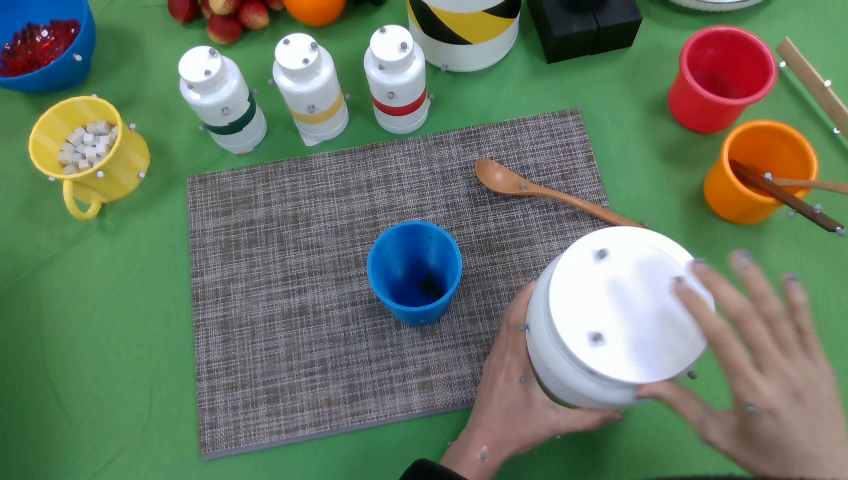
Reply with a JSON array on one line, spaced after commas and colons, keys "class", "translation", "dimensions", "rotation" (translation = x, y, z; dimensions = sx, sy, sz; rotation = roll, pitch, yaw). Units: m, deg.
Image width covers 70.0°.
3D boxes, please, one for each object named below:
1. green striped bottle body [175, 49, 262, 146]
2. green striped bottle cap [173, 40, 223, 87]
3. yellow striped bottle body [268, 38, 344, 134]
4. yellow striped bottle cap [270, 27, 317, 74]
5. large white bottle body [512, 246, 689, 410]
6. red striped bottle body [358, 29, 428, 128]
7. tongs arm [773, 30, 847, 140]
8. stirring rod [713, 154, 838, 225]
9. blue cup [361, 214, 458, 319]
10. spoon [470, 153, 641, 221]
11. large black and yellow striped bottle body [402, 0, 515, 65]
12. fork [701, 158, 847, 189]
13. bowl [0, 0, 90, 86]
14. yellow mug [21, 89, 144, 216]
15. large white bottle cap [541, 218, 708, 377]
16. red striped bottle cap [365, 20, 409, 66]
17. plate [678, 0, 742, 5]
[{"class": "green striped bottle body", "translation": [-0.220, -0.156, 0.645], "dimensions": [0.063, 0.120, 0.063], "rotation": [-1, 70, 2]}, {"class": "green striped bottle cap", "translation": [-0.223, -0.173, 0.596], "dimensions": [0.044, 0.020, 0.044], "rotation": [0, 69, 1]}, {"class": "yellow striped bottle body", "translation": [-0.126, -0.170, 0.646], "dimensions": [0.063, 0.121, 0.062], "rotation": [-1, 70, 3]}, {"class": "yellow striped bottle cap", "translation": [-0.129, -0.187, 0.598], "dimensions": [0.044, 0.019, 0.044], "rotation": [0, 72, 1]}, {"class": "large white bottle body", "translation": [0.146, 0.071, 0.512], "dimensions": [0.130, 0.186, 0.129], "rotation": [-1, 69, 3]}, {"class": "red striped bottle body", "translation": [-0.032, -0.176, 0.646], "dimensions": [0.063, 0.120, 0.062], "rotation": [-2, 69, 6]}, {"class": "tongs arm", "translation": [0.500, -0.077, 0.635], "dimensions": [0.051, 0.027, 0.382], "rotation": [-22, 72, -8]}, {"class": "stirring rod", "translation": [0.329, -0.053, 0.580], "dimensions": [0.014, 0.006, 0.174], "rotation": [-8, 27, -4]}, {"class": "blue cup", "translation": [-0.012, 0.034, 0.576], "dimensions": [0.092, 0.101, 0.092], "rotation": [0, 69, 1]}, {"class": "spoon", "translation": [0.139, -0.050, 0.642], "dimensions": [0.193, 0.022, 0.041], "rotation": [20, 47, 8]}, {"class": "large black and yellow striped bottle body", "translation": [0.037, -0.293, 0.650], "dimensions": [0.131, 0.185, 0.130], "rotation": [-1, 70, 2]}, {"class": "fork", "translation": [0.360, -0.056, 0.573], "dimensions": [0.028, 0.019, 0.205], "rotation": [-50, 32, -12]}, {"class": "bowl", "translation": [-0.453, -0.234, 0.703], "dimensions": [0.151, 0.077, 0.150], "rotation": [0, 70, 1]}, {"class": "yellow mug", "translation": [-0.369, -0.089, 0.655], "dimensions": [0.100, 0.064, 0.130], "rotation": [-1, 71, 1]}, {"class": "large white bottle cap", "translation": [0.142, 0.039, 0.431], "dimensions": [0.115, 0.018, 0.114], "rotation": [-1, 70, 2]}, {"class": "red striped bottle cap", "translation": [-0.036, -0.195, 0.596], "dimensions": [0.044, 0.018, 0.044], "rotation": [1, 68, -1]}, {"class": "plate", "translation": [0.341, -0.369, 0.743], "dimensions": [0.209, 0.038, 0.207], "rotation": [-1, 71, 2]}]
